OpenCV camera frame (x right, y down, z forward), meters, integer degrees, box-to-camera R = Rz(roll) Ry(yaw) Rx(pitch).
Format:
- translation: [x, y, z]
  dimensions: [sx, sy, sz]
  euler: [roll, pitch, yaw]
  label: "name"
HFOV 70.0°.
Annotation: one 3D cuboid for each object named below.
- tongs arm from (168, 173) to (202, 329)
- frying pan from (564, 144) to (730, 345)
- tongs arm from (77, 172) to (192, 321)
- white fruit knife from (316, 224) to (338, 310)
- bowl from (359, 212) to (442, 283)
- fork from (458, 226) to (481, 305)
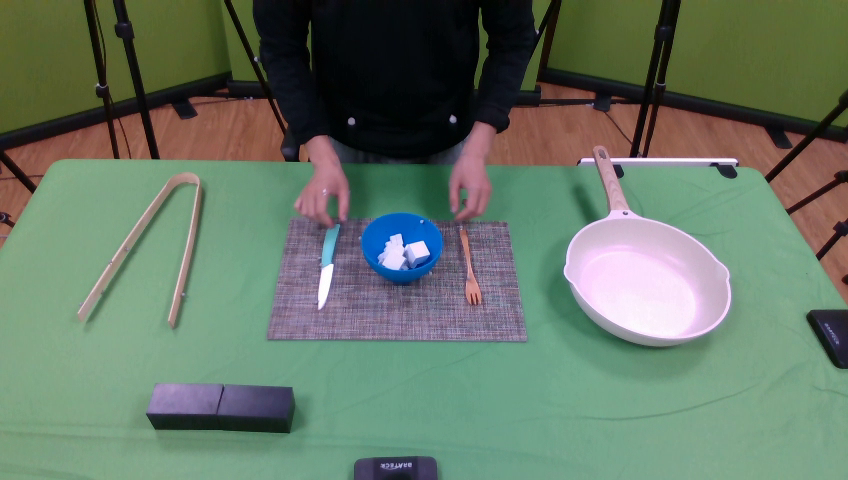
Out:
- translation: [-0.454, 0.006, 1.153]
  dimensions: [0.028, 0.028, 0.385]
  euler: [-4, 47, -6]
  label: "tongs arm"
- translation: [0.396, -0.008, 1.179]
  dimensions: [0.307, 0.103, 0.484]
  euler: [0, 55, -5]
  label: "frying pan"
- translation: [-0.535, -0.002, 1.147]
  dimensions: [0.051, 0.026, 0.382]
  euler: [7, 45, 1]
  label: "tongs arm"
- translation: [-0.185, 0.047, 1.137]
  dimensions: [0.027, 0.016, 0.206]
  euler: [-5, 47, 6]
  label: "white fruit knife"
- translation: [-0.045, 0.026, 1.124]
  dimensions: [0.151, 0.077, 0.150]
  euler: [2, 46, -2]
  label: "bowl"
- translation: [0.083, 0.044, 1.158]
  dimensions: [0.028, 0.019, 0.206]
  euler: [-8, 48, 1]
  label: "fork"
